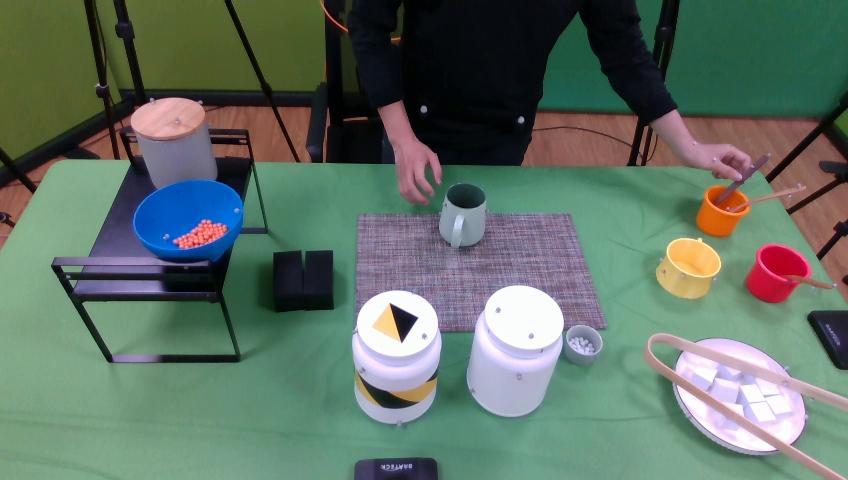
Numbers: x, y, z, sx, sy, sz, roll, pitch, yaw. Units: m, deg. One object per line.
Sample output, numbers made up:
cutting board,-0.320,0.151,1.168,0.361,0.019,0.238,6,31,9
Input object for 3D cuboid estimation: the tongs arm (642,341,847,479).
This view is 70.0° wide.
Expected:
tongs arm,0.504,0.278,0.918,0.386,0.028,0.028,34,59,22

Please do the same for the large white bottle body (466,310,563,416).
large white bottle body,0.138,0.171,0.932,0.131,0.185,0.130,2,46,-2

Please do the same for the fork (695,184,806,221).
fork,0.658,-0.075,1.230,0.207,0.019,0.028,-24,25,37

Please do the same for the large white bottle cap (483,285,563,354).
large white bottle cap,0.142,0.112,0.871,0.115,0.018,0.114,3,46,-3

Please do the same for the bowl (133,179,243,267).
bowl,-0.339,-0.013,0.895,0.151,0.077,0.150,2,46,-2

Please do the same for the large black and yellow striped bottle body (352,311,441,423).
large black and yellow striped bottle body,-0.042,0.177,0.912,0.131,0.185,0.130,2,46,-2

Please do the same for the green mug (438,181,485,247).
green mug,0.071,-0.039,1.177,0.092,0.105,0.124,12,47,7

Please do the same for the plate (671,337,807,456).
plate,0.503,0.254,0.984,0.208,0.039,0.206,2,46,-2

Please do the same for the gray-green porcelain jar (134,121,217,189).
gray-green porcelain jar,-0.397,-0.141,0.980,0.106,0.127,0.105,2,47,-2

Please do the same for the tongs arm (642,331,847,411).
tongs arm,0.546,0.227,0.968,0.384,0.026,0.050,22,52,13

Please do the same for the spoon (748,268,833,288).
spoon,0.660,0.068,1.097,0.041,0.193,0.021,-3,91,-6

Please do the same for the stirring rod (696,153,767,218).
stirring rod,0.629,-0.110,1.245,0.006,0.176,0.014,10,40,-41

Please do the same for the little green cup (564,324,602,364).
little green cup,0.269,0.179,1.035,0.061,0.039,0.061,2,45,-2

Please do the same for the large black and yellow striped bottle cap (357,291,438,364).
large black and yellow striped bottle cap,-0.037,0.121,0.850,0.115,0.019,0.114,2,46,-1

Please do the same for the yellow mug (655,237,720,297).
yellow mug,0.509,0.041,1.167,0.099,0.064,0.130,24,48,18

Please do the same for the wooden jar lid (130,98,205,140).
wooden jar lid,-0.393,-0.183,0.934,0.108,0.021,0.107,3,44,-2
